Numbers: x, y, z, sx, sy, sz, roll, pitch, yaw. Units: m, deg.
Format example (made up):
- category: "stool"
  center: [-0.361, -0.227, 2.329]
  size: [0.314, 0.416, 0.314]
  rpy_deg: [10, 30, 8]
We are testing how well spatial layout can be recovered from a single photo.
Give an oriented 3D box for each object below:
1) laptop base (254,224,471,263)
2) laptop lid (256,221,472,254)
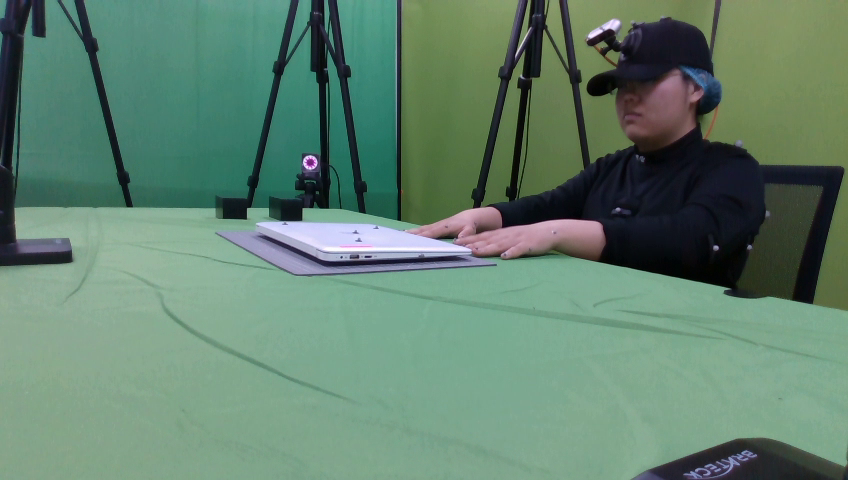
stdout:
- category: "laptop base"
  center: [-0.115, 0.005, 0.973]
  size: [0.237, 0.023, 0.352]
  rpy_deg: [2, 6, -31]
- category: "laptop lid"
  center: [-0.112, -0.007, 0.972]
  size: [0.243, 0.013, 0.355]
  rpy_deg: [1, 7, -29]
